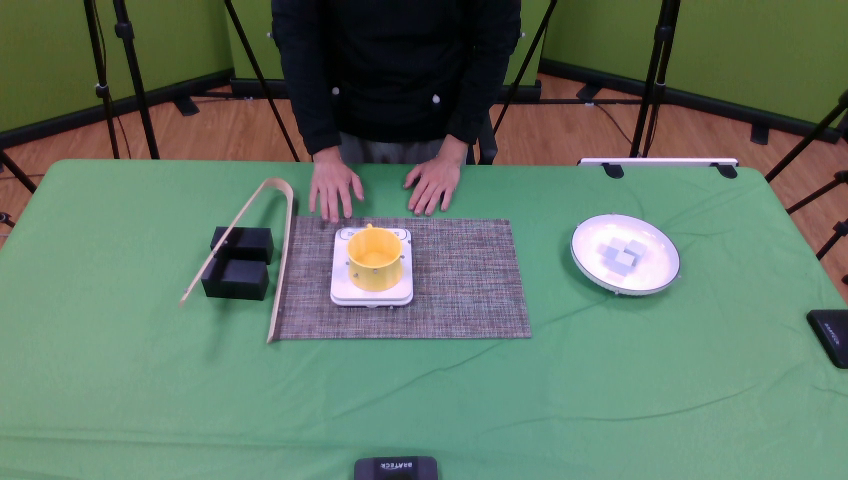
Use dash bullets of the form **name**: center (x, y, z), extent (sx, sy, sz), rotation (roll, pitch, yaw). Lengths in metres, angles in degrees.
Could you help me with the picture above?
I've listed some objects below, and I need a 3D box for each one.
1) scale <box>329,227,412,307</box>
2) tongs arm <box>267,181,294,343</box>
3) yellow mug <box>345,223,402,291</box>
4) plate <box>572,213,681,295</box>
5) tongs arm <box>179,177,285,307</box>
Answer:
- **scale**: center (-0.099, 0.042, 1.139), extent (0.149, 0.032, 0.199), rotation (1, 45, -4)
- **tongs arm**: center (-0.273, 0.027, 1.144), extent (0.028, 0.028, 0.385), rotation (17, 42, -22)
- **yellow mug**: center (-0.092, 0.022, 1.093), extent (0.100, 0.064, 0.130), rotation (-7, 46, -10)
- **plate**: center (0.393, 0.030, 1.189), extent (0.208, 0.039, 0.206), rotation (2, 46, -2)
- **tongs arm**: center (-0.342, -0.008, 1.118), extent (0.051, 0.026, 0.382), rotation (29, 38, -14)
